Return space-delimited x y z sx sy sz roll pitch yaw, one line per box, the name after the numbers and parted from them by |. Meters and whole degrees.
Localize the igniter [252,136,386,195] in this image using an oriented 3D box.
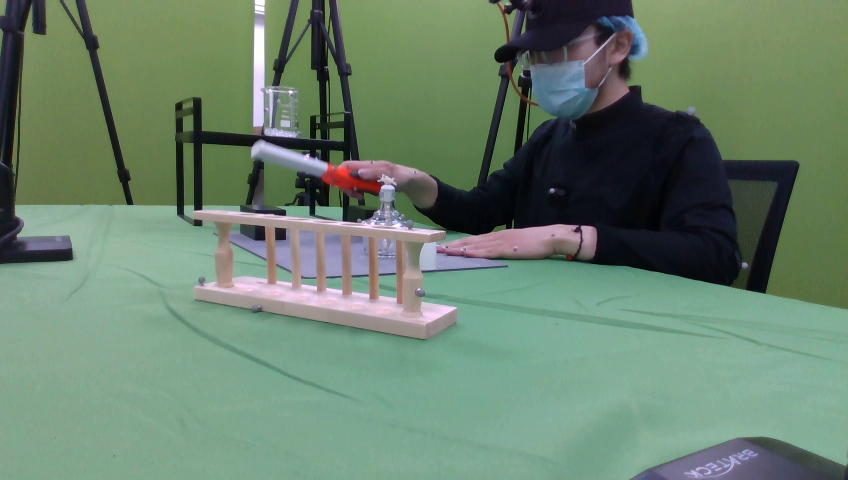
-0.169 -0.123 1.049 0.057 0.025 0.278 -27 -29 36 | igniter

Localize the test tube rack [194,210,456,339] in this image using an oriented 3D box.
-0.093 0.023 0.546 0.241 0.085 0.067 6 8 25 | test tube rack

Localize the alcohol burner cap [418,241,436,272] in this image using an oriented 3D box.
0.001 0.015 0.787 0.034 0.048 0.034 4 7 0 | alcohol burner cap

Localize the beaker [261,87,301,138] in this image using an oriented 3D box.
-0.298 -0.263 1.255 0.084 0.100 0.073 -5 10 -40 | beaker

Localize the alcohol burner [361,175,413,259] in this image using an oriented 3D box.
-0.054 -0.033 0.870 0.078 0.119 0.078 1 9 0 | alcohol burner
